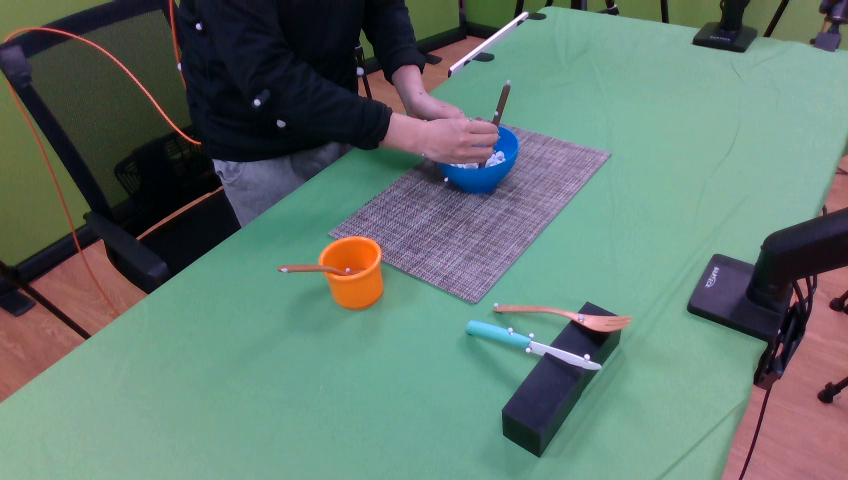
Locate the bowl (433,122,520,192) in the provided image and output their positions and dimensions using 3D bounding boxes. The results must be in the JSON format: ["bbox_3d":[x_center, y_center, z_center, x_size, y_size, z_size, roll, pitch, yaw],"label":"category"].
[{"bbox_3d":[0.093,-0.137,1.064,0.151,0.077,0.150,-4,40,4],"label":"bowl"}]

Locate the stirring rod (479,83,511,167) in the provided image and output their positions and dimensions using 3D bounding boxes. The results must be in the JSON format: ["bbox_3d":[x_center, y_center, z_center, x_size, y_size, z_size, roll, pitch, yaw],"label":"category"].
[{"bbox_3d":[0.114,-0.176,1.004,0.014,0.176,0.005,-14,43,-37],"label":"stirring rod"}]

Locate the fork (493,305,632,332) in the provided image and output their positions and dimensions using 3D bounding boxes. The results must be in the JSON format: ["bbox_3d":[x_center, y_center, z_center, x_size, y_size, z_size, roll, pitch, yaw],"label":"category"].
[{"bbox_3d":[0.171,0.097,0.783,0.205,0.019,0.028,4,40,43],"label":"fork"}]

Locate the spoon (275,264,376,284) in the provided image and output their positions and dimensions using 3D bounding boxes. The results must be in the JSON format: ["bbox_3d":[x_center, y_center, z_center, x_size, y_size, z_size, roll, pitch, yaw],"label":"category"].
[{"bbox_3d":[-0.133,0.044,0.839,0.041,0.195,0.021,24,94,33],"label":"spoon"}]

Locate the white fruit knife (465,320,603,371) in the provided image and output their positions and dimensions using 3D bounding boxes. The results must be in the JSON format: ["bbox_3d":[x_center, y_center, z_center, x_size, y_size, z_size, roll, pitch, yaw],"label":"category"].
[{"bbox_3d":[0.128,0.129,0.749,0.205,0.027,0.016,10,44,43],"label":"white fruit knife"}]
